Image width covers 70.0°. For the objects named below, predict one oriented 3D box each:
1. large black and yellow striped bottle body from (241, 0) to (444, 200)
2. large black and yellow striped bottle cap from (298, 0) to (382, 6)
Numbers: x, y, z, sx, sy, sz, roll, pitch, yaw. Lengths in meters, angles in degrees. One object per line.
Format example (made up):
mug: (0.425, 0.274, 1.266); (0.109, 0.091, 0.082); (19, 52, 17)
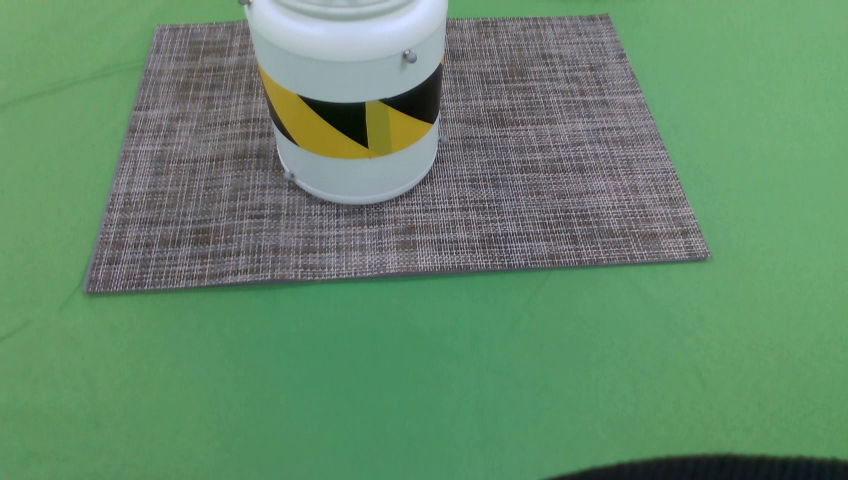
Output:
large black and yellow striped bottle body: (-0.053, -0.132, 0.427); (0.131, 0.185, 0.129); (1, 55, -2)
large black and yellow striped bottle cap: (-0.049, -0.181, 0.358); (0.115, 0.019, 0.114); (1, 57, -1)
